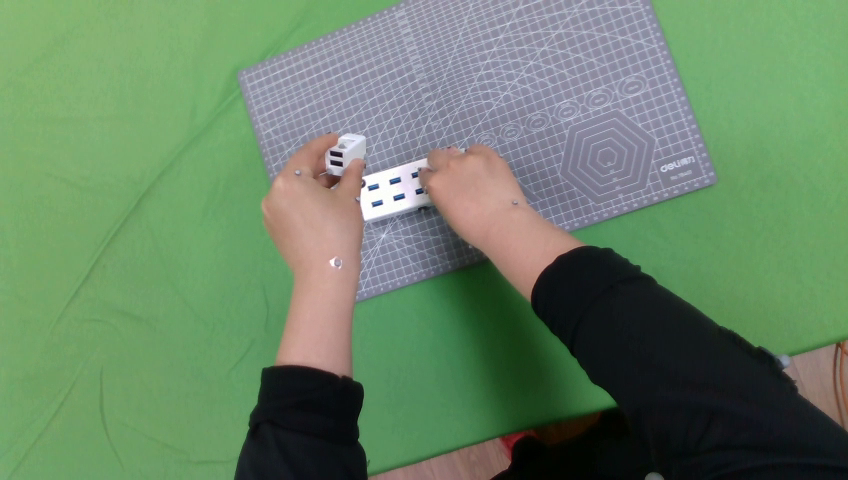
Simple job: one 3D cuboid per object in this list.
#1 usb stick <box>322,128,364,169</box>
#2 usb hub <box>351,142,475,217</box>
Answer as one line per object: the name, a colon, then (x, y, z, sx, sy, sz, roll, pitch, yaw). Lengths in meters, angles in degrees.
usb stick: (-0.071, -0.085, 0.550, 0.021, 0.059, 0.027, 8, 115, 15)
usb hub: (-0.013, -0.065, 0.647, 0.125, 0.025, 0.049, -14, 85, 11)
